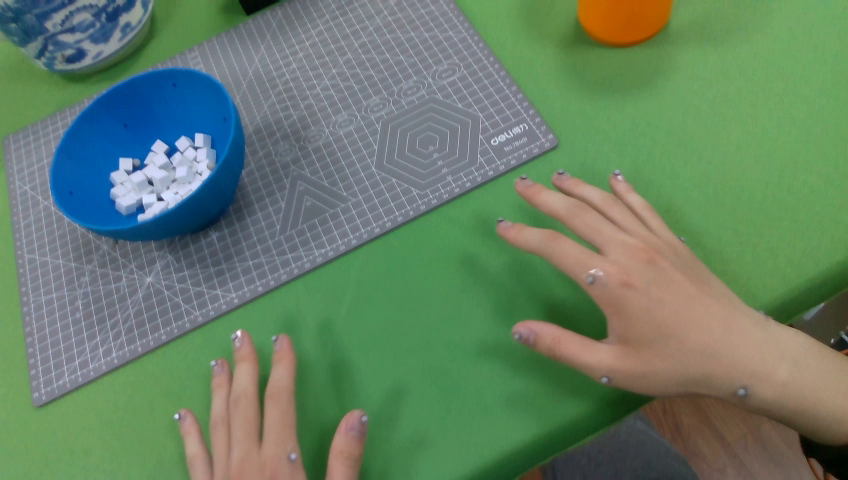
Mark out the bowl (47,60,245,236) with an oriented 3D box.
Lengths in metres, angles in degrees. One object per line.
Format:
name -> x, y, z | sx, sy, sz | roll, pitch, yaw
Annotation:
bowl -> -0.204, -0.060, 0.485 | 0.151, 0.077, 0.150 | -5, 62, 10

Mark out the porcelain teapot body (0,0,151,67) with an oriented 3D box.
porcelain teapot body -> -0.394, -0.266, 0.549 | 0.205, 0.227, 0.144 | -22, 62, 1

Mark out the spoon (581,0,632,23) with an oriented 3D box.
spoon -> 0.190, -0.252, 0.463 | 0.022, 0.194, 0.041 | -7, 54, -43
